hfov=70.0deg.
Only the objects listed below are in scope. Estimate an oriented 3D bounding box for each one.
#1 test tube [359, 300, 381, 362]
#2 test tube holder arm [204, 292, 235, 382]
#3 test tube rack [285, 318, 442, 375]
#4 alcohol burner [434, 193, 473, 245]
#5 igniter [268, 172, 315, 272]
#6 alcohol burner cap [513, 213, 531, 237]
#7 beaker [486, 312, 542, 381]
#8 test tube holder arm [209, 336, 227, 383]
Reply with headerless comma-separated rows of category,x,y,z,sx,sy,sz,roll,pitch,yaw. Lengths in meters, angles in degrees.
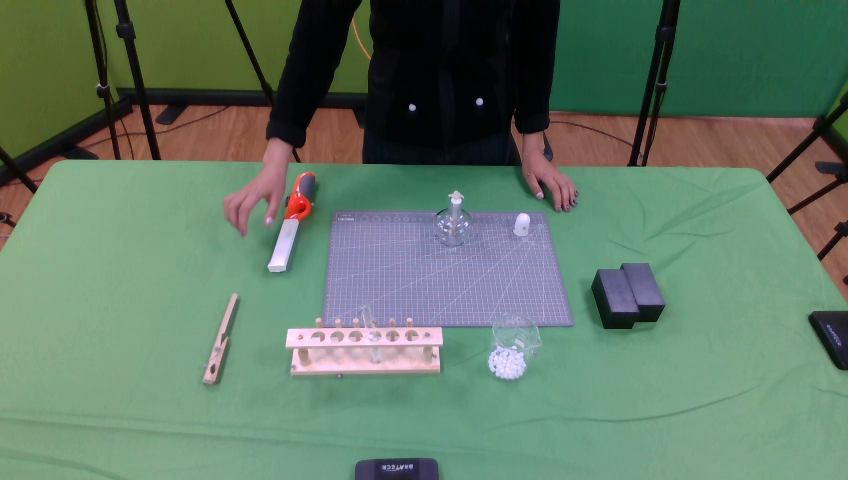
test tube,-0.083,0.144,0.940,0.017,0.151,0.017,-3,46,3
test tube holder arm,-0.343,0.159,1.020,0.013,0.015,0.177,27,39,-26
test tube rack,-0.095,0.167,0.986,0.242,0.085,0.066,0,46,-4
alcohol burner,0.059,-0.047,1.180,0.078,0.120,0.077,1,48,-1
igniter,-0.264,-0.045,1.219,0.057,0.025,0.275,-2,45,8
alcohol burner cap,0.200,-0.034,1.227,0.034,0.048,0.033,2,46,-1
beaker,0.144,0.177,0.985,0.084,0.101,0.074,22,49,16
test tube holder arm,-0.338,0.193,0.991,0.010,0.015,0.087,28,39,-25
